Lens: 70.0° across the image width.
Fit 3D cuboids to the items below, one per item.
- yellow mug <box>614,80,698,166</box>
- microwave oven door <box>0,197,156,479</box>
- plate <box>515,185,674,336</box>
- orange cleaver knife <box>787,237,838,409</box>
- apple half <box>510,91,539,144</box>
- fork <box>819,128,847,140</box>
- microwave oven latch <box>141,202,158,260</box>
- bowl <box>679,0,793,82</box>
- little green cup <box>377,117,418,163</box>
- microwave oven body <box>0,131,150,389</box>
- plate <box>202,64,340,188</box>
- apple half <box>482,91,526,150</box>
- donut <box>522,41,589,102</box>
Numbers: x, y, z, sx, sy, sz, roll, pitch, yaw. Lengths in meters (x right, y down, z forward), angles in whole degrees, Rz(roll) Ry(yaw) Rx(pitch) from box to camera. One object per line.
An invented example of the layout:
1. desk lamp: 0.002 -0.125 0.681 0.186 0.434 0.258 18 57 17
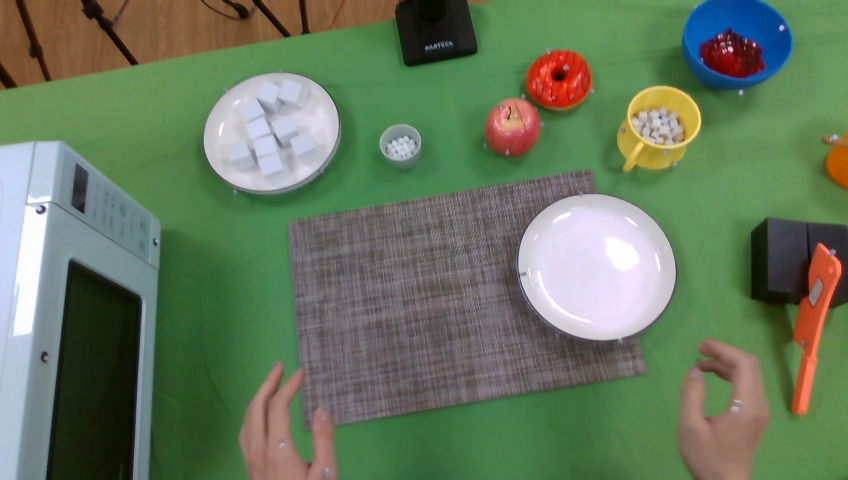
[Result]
1. yellow mug: 0.319 -0.157 0.861 0.099 0.064 0.130 37 78 15
2. microwave oven door: -0.384 0.160 0.688 0.039 0.245 0.353 -7 70 2
3. plate: 0.225 0.028 0.814 0.209 0.038 0.207 -1 71 4
4. orange cleaver knife: 0.474 0.103 0.752 0.012 0.077 0.212 8 102 11
5. apple half: 0.148 -0.180 0.877 0.033 0.082 0.080 -19 70 3
6. fork: 0.557 -0.129 0.790 0.209 0.018 0.028 2 64 -42
7. microwave oven latch: -0.396 -0.011 0.857 0.030 0.030 0.078 -5 71 2
8. bowl: 0.444 -0.287 0.891 0.151 0.077 0.150 -1 71 4
9. little green cup: -0.037 -0.146 0.898 0.061 0.039 0.061 -1 71 4
10. microwave oven body: -0.532 0.139 0.712 0.326 0.262 0.438 -7 71 1
11. plate: -0.228 -0.170 0.920 0.207 0.039 0.206 -1 71 4
12. apple half: 0.111 -0.167 0.877 0.053 0.075 0.080 -19 74 2
13. donut: 0.199 -0.254 0.916 0.099 0.048 0.098 -1 73 5
